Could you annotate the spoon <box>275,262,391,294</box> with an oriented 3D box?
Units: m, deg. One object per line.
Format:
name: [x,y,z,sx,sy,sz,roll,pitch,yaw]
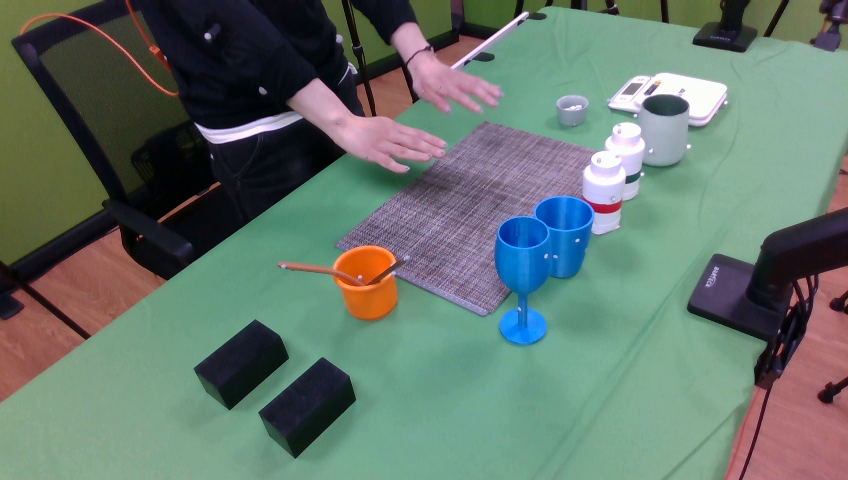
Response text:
spoon: [-0.120,0.050,0.830,0.041,0.195,0.021,31,97,45]

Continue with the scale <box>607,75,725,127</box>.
scale: [0.490,-0.287,1.226,0.199,0.032,0.149,22,48,30]

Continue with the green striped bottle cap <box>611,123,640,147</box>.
green striped bottle cap: [0.322,-0.168,0.963,0.044,0.020,0.044,-3,41,4]

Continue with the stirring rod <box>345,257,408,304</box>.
stirring rod: [-0.067,0.057,0.815,0.014,0.175,0.006,-24,82,-38]

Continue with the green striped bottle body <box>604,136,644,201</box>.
green striped bottle body: [0.326,-0.128,0.997,0.063,0.120,0.063,-4,41,4]

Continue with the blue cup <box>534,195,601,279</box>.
blue cup: [0.201,0.000,0.879,0.092,0.100,0.092,-3,39,3]

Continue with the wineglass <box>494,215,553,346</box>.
wineglass: [0.126,0.055,0.770,0.074,0.173,0.073,-4,40,4]

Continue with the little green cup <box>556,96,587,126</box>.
little green cup: [0.295,-0.257,1.214,0.061,0.039,0.061,-4,42,4]

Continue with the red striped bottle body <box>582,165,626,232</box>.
red striped bottle body: [0.279,-0.075,0.942,0.063,0.120,0.062,-5,41,4]

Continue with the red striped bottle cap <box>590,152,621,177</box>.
red striped bottle cap: [0.273,-0.114,0.907,0.044,0.018,0.044,-5,39,5]

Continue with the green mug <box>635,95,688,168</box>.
green mug: [0.421,-0.201,1.081,0.092,0.105,0.125,5,42,15]
